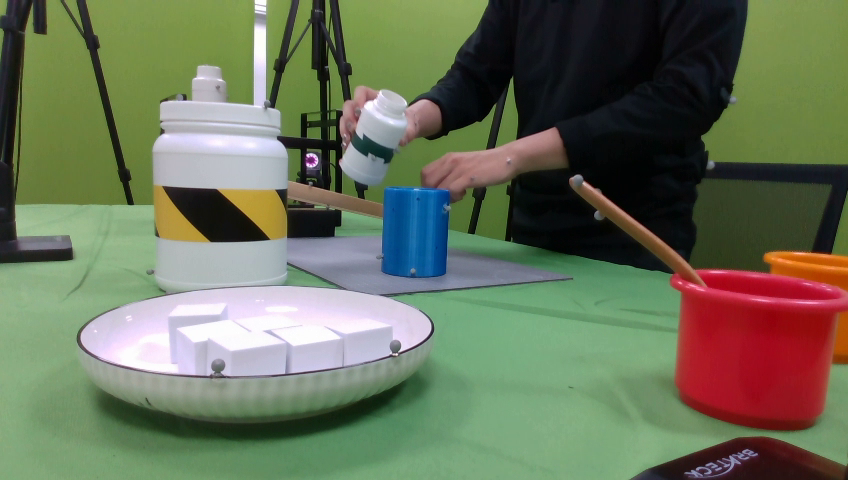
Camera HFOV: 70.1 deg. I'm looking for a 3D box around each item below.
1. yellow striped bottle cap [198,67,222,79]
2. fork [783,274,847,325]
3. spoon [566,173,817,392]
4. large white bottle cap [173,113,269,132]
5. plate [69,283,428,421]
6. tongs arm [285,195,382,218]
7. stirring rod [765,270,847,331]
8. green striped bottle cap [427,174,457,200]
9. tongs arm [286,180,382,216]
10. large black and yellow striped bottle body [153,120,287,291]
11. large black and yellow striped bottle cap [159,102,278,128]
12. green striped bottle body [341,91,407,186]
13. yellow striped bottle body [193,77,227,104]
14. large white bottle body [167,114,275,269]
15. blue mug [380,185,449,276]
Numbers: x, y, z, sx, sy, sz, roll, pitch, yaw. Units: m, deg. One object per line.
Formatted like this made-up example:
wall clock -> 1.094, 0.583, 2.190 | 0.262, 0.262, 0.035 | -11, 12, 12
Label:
yellow striped bottle cap -> -0.411, -0.320, 1.163 | 0.044, 0.018, 0.044 | 0, 6, 0
fork -> 0.332, 0.018, 0.443 | 0.028, 0.018, 0.207 | -1, -36, -15
spoon -> 0.161, 0.024, 0.370 | 0.193, 0.021, 0.042 | 47, 18, 3
large white bottle cap -> -0.254, -0.146, 0.760 | 0.115, 0.018, 0.115 | 1, 7, 0
plate -> -0.102, 0.066, 0.381 | 0.208, 0.039, 0.207 | 2, 7, 0
tongs arm -> -0.166, -0.074, 1.216 | 0.389, 0.027, 0.028 | 11, -6, -24
stirring rod -> 0.352, 0.020, 0.484 | 0.176, 0.006, 0.014 | -40, -7, 12
green striped bottle cap -> 0.027, -0.078, 0.908 | 0.044, 0.020, 0.044 | -14, 44, 14
tongs arm -> -0.122, -0.066, 1.147 | 0.387, 0.026, 0.050 | 11, -2, -37
large black and yellow striped bottle body -> -0.208, -0.043, 0.626 | 0.131, 0.184, 0.130 | 2, 7, 0
large black and yellow striped bottle cap -> -0.207, -0.125, 0.615 | 0.115, 0.019, 0.115 | 2, 6, 0
green striped bottle body -> -0.064, -0.137, 0.811 | 0.063, 0.119, 0.063 | 20, 31, -12
yellow striped bottle body -> -0.414, -0.268, 1.169 | 0.063, 0.120, 0.063 | 2, 7, 0
large white bottle body -> -0.256, -0.063, 0.771 | 0.131, 0.184, 0.130 | 2, 7, 0
blue mug -> -0.018, -0.016, 0.764 | 0.083, 0.106, 0.116 | -2, 8, -25
